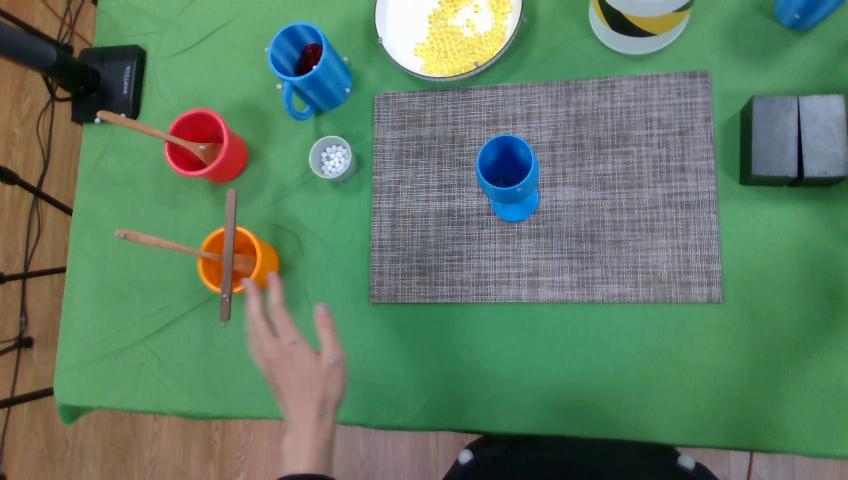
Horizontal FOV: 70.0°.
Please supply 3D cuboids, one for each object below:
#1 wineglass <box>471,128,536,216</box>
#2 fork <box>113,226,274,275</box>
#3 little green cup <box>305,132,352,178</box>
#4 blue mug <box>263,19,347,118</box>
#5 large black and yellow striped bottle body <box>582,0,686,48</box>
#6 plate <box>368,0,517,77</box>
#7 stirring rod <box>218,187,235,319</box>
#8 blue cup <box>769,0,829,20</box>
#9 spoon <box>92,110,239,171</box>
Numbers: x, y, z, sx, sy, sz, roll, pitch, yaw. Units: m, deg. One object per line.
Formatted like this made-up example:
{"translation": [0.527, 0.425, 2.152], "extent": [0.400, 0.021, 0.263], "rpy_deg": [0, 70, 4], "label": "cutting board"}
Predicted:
{"translation": [0.099, -0.076, 0.726], "extent": [0.073, 0.173, 0.073], "rpy_deg": [-2, 81, 11], "label": "wineglass"}
{"translation": [-0.302, 0.014, 0.809], "extent": [0.209, 0.018, 0.028], "rpy_deg": [17, 91, -31], "label": "fork"}
{"translation": [-0.132, -0.116, 0.851], "extent": [0.061, 0.039, 0.061], "rpy_deg": [-2, 82, 12], "label": "little green cup"}
{"translation": [-0.168, -0.227, 0.839], "extent": [0.082, 0.106, 0.116], "rpy_deg": [19, 86, 13], "label": "blue mug"}
{"translation": [0.261, -0.330, 0.728], "extent": [0.130, 0.185, 0.130], "rpy_deg": [-2, 81, 11], "label": "large black and yellow striped bottle body"}
{"translation": [0.025, -0.325, 0.849], "extent": [0.209, 0.038, 0.208], "rpy_deg": [-1, 83, 11], "label": "plate"}
{"translation": [-0.260, 0.016, 0.799], "extent": [0.014, 0.006, 0.175], "rpy_deg": [-2, 81, 11], "label": "stirring rod"}
{"translation": [0.463, -0.317, 0.729], "extent": [0.092, 0.101, 0.092], "rpy_deg": [-2, 82, 13], "label": "blue cup"}
{"translation": [-0.355, -0.143, 0.844], "extent": [0.195, 0.021, 0.041], "rpy_deg": [20, 86, -30], "label": "spoon"}
